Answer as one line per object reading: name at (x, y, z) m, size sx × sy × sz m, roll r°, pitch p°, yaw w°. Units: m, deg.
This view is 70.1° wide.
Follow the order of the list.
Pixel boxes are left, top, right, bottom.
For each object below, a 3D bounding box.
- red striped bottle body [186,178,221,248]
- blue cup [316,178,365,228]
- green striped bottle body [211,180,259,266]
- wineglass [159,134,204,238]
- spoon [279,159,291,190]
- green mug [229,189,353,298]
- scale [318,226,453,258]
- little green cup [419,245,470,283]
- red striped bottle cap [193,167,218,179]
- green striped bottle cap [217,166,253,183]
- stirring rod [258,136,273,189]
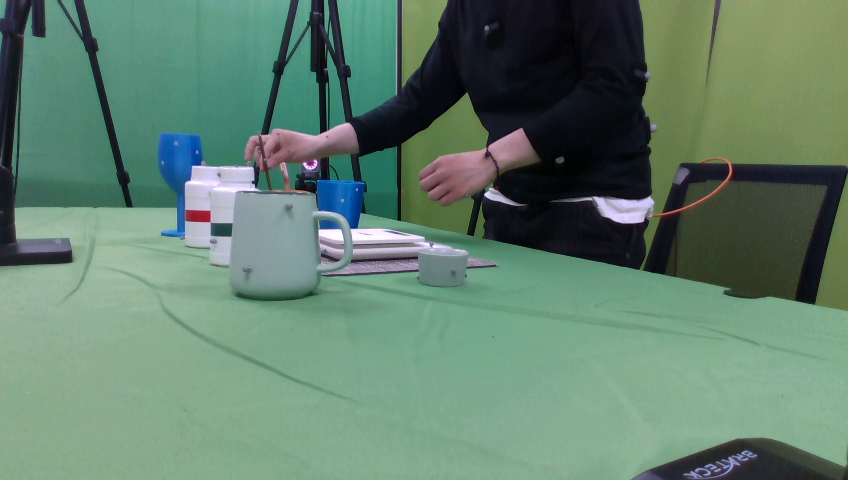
red striped bottle body at (-0.331, -0.050, 0.927) m, size 0.063 × 0.119 × 0.063 m, roll 2°, pitch 6°, yaw 0°
blue cup at (-0.149, -0.057, 1.072) m, size 0.093 × 0.100 × 0.092 m, roll 3°, pitch 8°, yaw 0°
green striped bottle body at (-0.243, -0.029, 0.784) m, size 0.063 × 0.119 × 0.063 m, roll 2°, pitch 7°, yaw 0°
wineglass at (-0.415, -0.093, 1.040) m, size 0.074 × 0.172 × 0.073 m, roll 2°, pitch 7°, yaw 0°
spoon at (-0.281, -0.103, 1.251) m, size 0.042 × 0.193 × 0.021 m, roll 3°, pitch -38°, yaw -26°
green mug at (-0.135, 0.002, 0.618) m, size 0.125 × 0.105 × 0.092 m, roll 2°, pitch 7°, yaw 4°
scale at (-0.066, 0.001, 0.906) m, size 0.202 × 0.031 × 0.148 m, roll -2°, pitch 8°, yaw -31°
little green cup at (0.023, 0.028, 0.712) m, size 0.061 × 0.038 × 0.061 m, roll 2°, pitch 6°, yaw 0°
red striped bottle cap at (-0.329, -0.102, 0.921) m, size 0.044 × 0.017 × 0.044 m, roll 1°, pitch 9°, yaw 0°
green striped bottle cap at (-0.242, -0.085, 0.777) m, size 0.044 × 0.020 × 0.044 m, roll 2°, pitch 9°, yaw 0°
stirring rod at (-0.305, -0.118, 1.192) m, size 0.006 × 0.176 × 0.014 m, roll -9°, pitch 17°, yaw -5°
